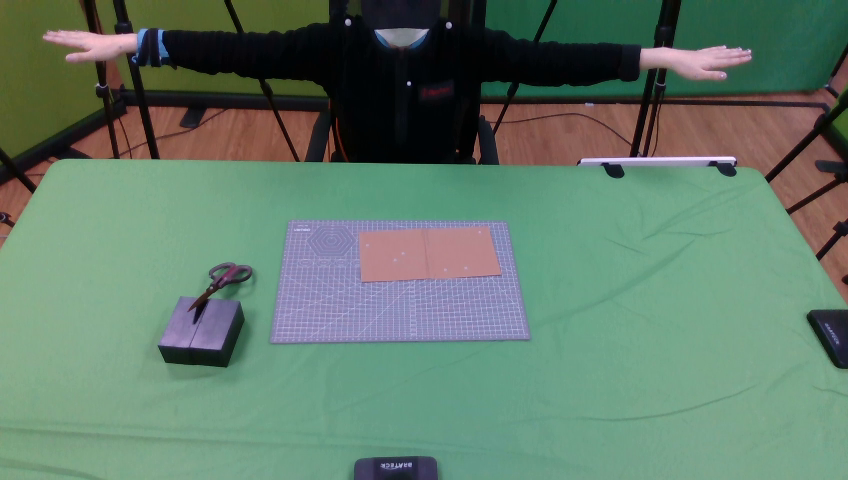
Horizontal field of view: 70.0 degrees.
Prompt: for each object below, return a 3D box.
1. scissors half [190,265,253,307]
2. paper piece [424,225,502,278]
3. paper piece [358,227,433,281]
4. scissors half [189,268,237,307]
[{"bbox_3d":[-0.351,0.078,1.053,0.040,0.013,0.175,-15,14,24],"label":"scissors half"},{"bbox_3d":[0.074,0.020,1.190,0.138,0.009,0.135,-2,50,-7],"label":"paper piece"},{"bbox_3d":[-0.058,0.025,1.173,0.136,0.004,0.134,-3,47,-6],"label":"paper piece"},{"bbox_3d":[-0.370,0.083,1.058,0.040,0.013,0.174,-14,14,7],"label":"scissors half"}]
